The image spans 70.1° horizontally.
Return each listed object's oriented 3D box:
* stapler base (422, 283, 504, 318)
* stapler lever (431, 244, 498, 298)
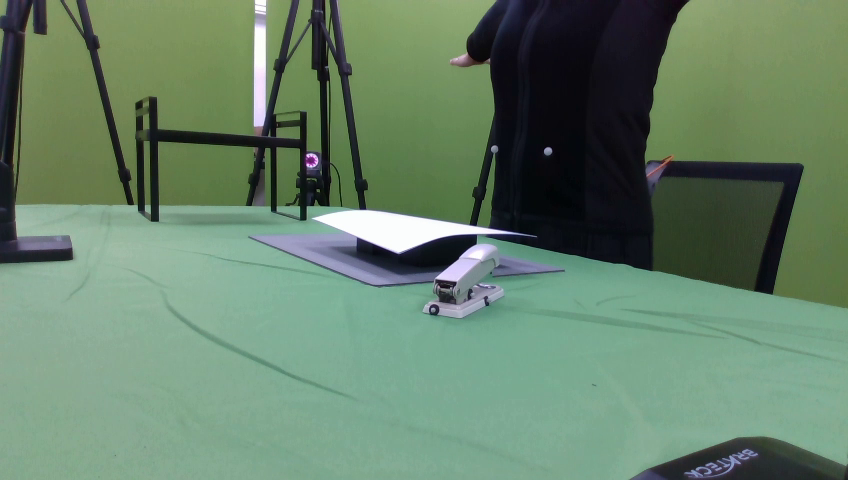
[{"bbox_3d":[0.043,0.053,0.606,0.041,0.024,0.131,2,8,26],"label":"stapler base"},{"bbox_3d":[0.043,0.029,0.602,0.026,0.040,0.118,2,7,26],"label":"stapler lever"}]
